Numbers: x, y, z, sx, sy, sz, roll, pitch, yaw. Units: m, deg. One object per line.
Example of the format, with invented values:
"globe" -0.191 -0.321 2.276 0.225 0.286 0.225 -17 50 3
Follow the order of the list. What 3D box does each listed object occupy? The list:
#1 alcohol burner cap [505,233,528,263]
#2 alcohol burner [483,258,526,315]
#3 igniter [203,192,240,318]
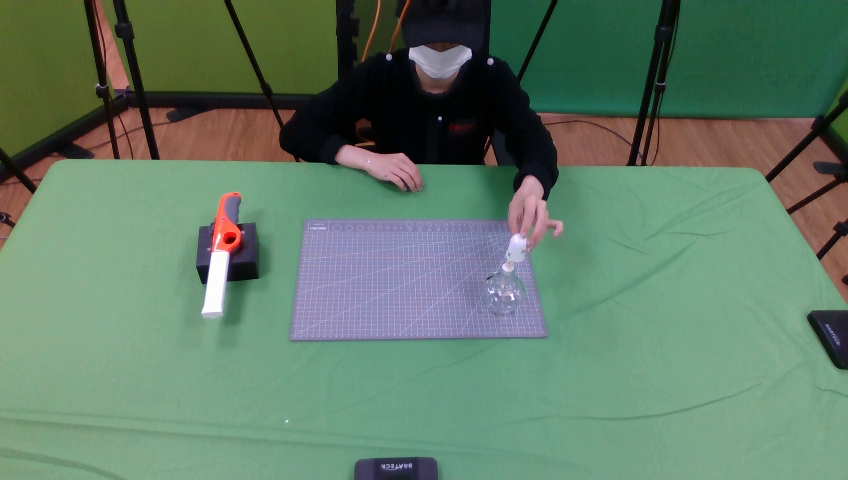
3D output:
"alcohol burner cap" 0.154 0.010 1.001 0.034 0.048 0.033 4 40 -3
"alcohol burner" 0.143 0.076 1.067 0.078 0.120 0.077 1 45 -1
"igniter" -0.361 0.017 1.084 0.057 0.025 0.274 -3 51 -6
